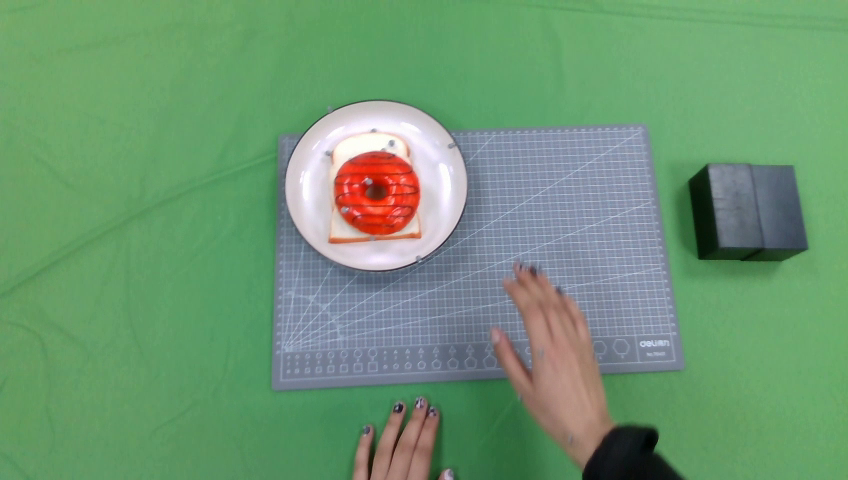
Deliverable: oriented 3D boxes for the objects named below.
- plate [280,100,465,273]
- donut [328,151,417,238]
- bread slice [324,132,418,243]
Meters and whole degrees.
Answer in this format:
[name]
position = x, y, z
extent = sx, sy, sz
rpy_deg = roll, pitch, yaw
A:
[plate]
position = -0.058, -0.059, 0.696
extent = 0.209, 0.038, 0.208
rpy_deg = 1, 74, -2
[donut]
position = -0.057, -0.049, 0.665
extent = 0.099, 0.048, 0.098
rpy_deg = 1, 76, -5
[bread slice]
position = -0.066, -0.062, 0.698
extent = 0.105, 0.019, 0.130
rpy_deg = -5, 74, -5
